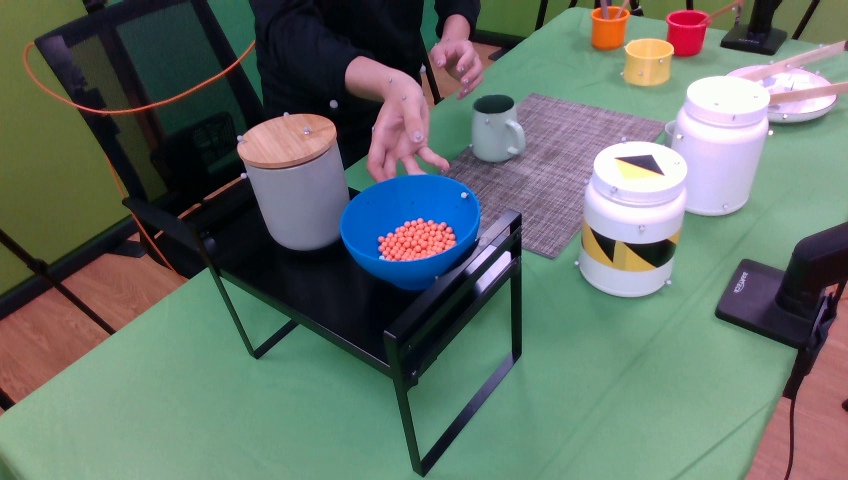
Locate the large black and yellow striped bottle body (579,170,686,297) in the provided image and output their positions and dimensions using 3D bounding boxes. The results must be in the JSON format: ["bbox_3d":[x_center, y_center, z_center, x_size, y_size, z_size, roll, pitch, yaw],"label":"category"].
[{"bbox_3d":[0.287,-0.027,0.841,0.131,0.185,0.130,-4,40,4],"label":"large black and yellow striped bottle body"}]

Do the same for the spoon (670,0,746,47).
[{"bbox_3d":[0.629,-0.485,1.350,0.022,0.193,0.042,48,54,-7],"label":"spoon"}]

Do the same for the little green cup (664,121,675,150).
[{"bbox_3d":[0.472,-0.188,1.113,0.061,0.039,0.061,-5,40,4],"label":"little green cup"}]

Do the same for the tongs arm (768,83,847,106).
[{"bbox_3d":[0.739,-0.281,1.134,0.388,0.028,0.028,-9,47,-5],"label":"tongs arm"}]

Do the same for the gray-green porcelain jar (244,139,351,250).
[{"bbox_3d":[-0.143,-0.060,0.714,0.106,0.127,0.105,-4,41,4],"label":"gray-green porcelain jar"}]

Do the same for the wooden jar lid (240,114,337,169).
[{"bbox_3d":[-0.149,-0.106,0.673,0.108,0.021,0.108,-6,39,5],"label":"wooden jar lid"}]

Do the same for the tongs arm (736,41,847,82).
[{"bbox_3d":[0.712,-0.332,1.194,0.386,0.026,0.050,-19,45,-16],"label":"tongs arm"}]

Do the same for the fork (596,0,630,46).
[{"bbox_3d":[0.481,-0.556,1.453,0.028,0.019,0.207,40,103,38],"label":"fork"}]

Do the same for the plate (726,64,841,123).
[{"bbox_3d":[0.695,-0.282,1.189,0.207,0.039,0.206,-4,40,4],"label":"plate"}]

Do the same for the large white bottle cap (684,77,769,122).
[{"bbox_3d":[0.448,-0.209,0.898,0.115,0.018,0.114,-4,40,4],"label":"large white bottle cap"}]

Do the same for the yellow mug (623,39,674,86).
[{"bbox_3d":[0.485,-0.398,1.334,0.100,0.064,0.130,-18,41,-11],"label":"yellow mug"}]

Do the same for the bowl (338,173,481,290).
[{"bbox_3d":[-0.011,0.001,0.659,0.151,0.077,0.150,-5,41,5],"label":"bowl"}]

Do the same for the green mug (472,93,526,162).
[{"bbox_3d":[0.144,-0.202,1.122,0.093,0.105,0.124,-29,45,-23],"label":"green mug"}]

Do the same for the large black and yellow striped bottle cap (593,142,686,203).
[{"bbox_3d":[0.280,-0.090,0.786,0.115,0.019,0.114,-5,41,5],"label":"large black and yellow striped bottle cap"}]

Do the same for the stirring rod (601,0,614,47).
[{"bbox_3d":[0.439,-0.552,1.463,0.014,0.006,0.175,-7,83,3],"label":"stirring rod"}]

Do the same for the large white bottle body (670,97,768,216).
[{"bbox_3d":[0.458,-0.146,0.952,0.130,0.185,0.130,-4,40,4],"label":"large white bottle body"}]
